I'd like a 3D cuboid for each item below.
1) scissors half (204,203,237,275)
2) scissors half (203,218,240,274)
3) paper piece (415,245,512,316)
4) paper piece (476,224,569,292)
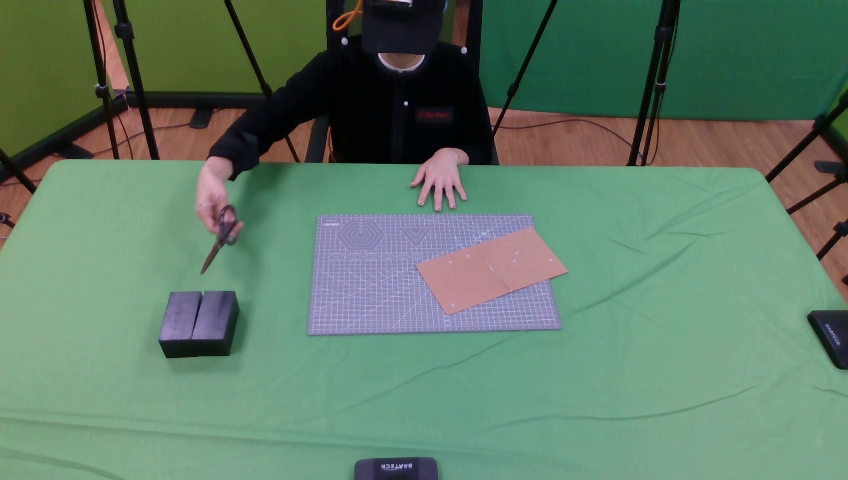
[{"bbox_3d":[-0.352,-0.004,1.043,0.013,0.040,0.174,1,45,1],"label":"scissors half"},{"bbox_3d":[-0.352,0.012,1.056,0.013,0.040,0.174,-3,27,5],"label":"scissors half"},{"bbox_3d":[0.072,0.071,1.140,0.138,0.009,0.135,-18,46,-18],"label":"paper piece"},{"bbox_3d":[0.192,0.033,1.185,0.136,0.004,0.134,-17,51,-19],"label":"paper piece"}]
